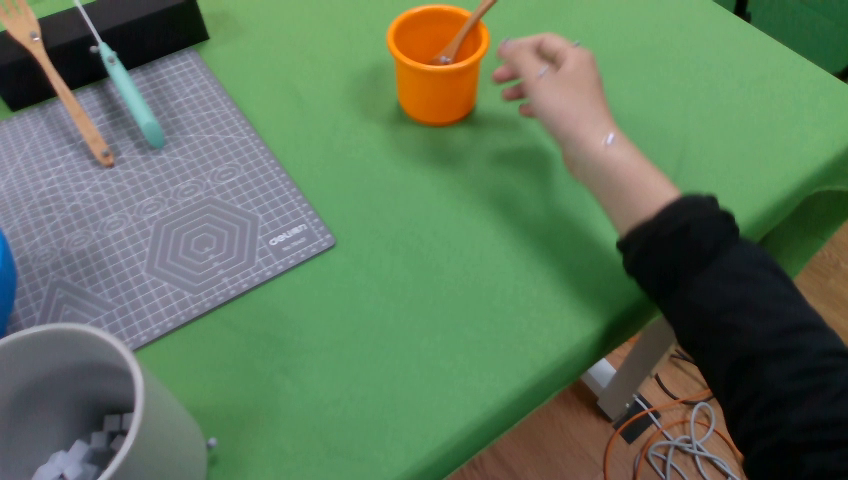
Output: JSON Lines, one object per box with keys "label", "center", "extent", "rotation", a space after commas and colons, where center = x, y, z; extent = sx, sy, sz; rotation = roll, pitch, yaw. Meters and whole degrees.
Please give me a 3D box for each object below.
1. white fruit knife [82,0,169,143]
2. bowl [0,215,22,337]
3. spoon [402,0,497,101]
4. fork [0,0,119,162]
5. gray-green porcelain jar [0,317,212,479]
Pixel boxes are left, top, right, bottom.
{"label": "white fruit knife", "center": [-0.291, -0.176, 0.566], "extent": [0.016, 0.027, 0.206], "rotation": [-30, 75, -20]}
{"label": "bowl", "center": [-0.345, 0.044, 0.417], "extent": [0.151, 0.077, 0.150], "rotation": [0, 56, 0]}
{"label": "spoon", "center": [0.048, -0.199, 0.545], "extent": [0.022, 0.194, 0.041], "rotation": [10, 42, -51]}
{"label": "fork", "center": [-0.333, -0.155, 0.549], "extent": [0.028, 0.019, 0.206], "rotation": [-32, 80, -25]}
{"label": "gray-green porcelain jar", "center": [-0.186, 0.118, 0.344], "extent": [0.106, 0.127, 0.105], "rotation": [0, 56, 0]}
